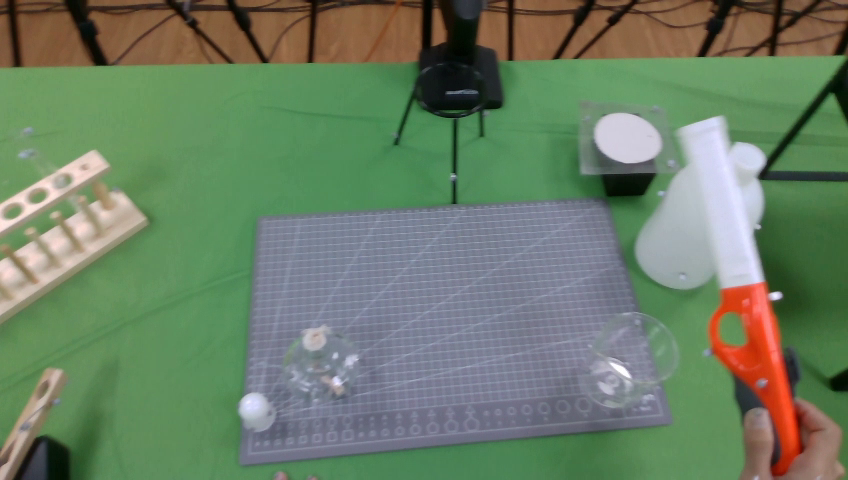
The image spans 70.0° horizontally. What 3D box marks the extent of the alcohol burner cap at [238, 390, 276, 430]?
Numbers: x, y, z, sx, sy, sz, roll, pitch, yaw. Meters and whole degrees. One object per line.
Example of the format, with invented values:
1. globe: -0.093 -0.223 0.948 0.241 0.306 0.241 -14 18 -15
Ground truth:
1. alcohol burner cap: -0.171 0.170 0.612 0.034 0.048 0.033 1 58 -1

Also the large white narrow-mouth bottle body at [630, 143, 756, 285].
1. large white narrow-mouth bottle body: 0.305 -0.034 0.674 0.102 0.196 0.101 1 58 -1

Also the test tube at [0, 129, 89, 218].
1. test tube: -0.412 -0.068 0.665 0.017 0.151 0.017 -1 60 2

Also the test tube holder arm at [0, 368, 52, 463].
1. test tube holder arm: -0.369 0.164 0.568 0.010 0.015 0.087 4 58 9

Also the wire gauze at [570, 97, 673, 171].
1. wire gauze: 0.252 -0.138 0.787 0.121 0.011 0.124 3 58 -1

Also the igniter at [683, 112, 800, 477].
1. igniter: 0.241 0.041 0.460 0.057 0.025 0.276 -12 87 35

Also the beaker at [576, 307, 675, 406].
1. beaker: 0.199 0.124 0.624 0.084 0.101 0.073 1 58 -1

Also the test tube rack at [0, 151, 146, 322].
1. test tube rack: -0.448 0.011 0.672 0.066 0.086 0.242 40 65 20

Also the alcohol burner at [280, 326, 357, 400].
1. alcohol burner: -0.107 0.116 0.605 0.078 0.120 0.077 2 57 -3

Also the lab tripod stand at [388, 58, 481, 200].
1. lab tripod stand: 0.023 -0.146 0.765 0.148 0.132 0.147 2 59 -3

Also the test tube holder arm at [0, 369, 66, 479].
1. test tube holder arm: -0.370 0.202 0.544 0.013 0.015 0.177 4 58 10

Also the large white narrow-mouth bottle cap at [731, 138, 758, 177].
1. large white narrow-mouth bottle cap: 0.308 -0.082 0.602 0.038 0.024 0.037 1 58 -2
